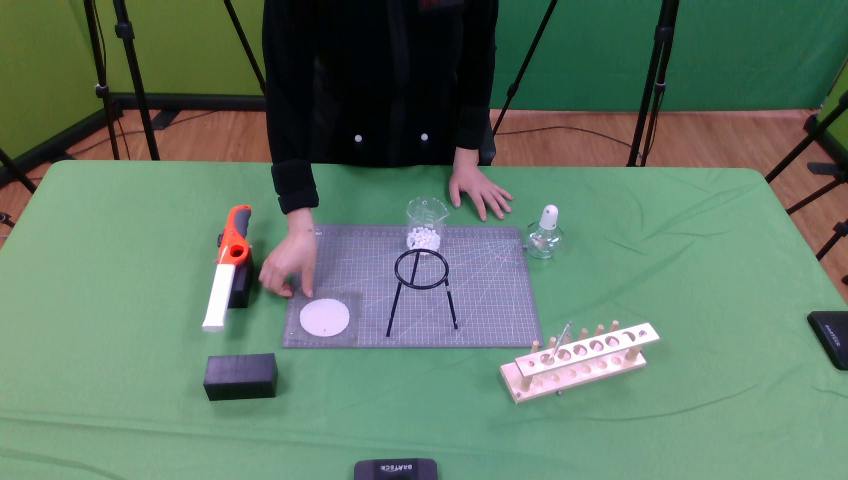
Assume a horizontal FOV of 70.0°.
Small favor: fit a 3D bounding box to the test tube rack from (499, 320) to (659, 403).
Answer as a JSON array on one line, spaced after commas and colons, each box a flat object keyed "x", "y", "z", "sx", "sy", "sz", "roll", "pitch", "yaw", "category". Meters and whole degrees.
[{"x": 0.252, "y": 0.187, "z": 0.994, "sx": 0.243, "sy": 0.085, "sz": 0.066, "roll": -12, "pitch": 48, "yaw": -15, "category": "test tube rack"}]

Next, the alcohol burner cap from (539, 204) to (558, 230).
[{"x": 0.238, "y": -0.045, "z": 1.148, "sx": 0.034, "sy": 0.048, "sz": 0.033, "roll": 2, "pitch": 42, "yaw": -1, "category": "alcohol burner cap"}]

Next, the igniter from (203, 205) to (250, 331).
[{"x": -0.345, "y": 0.039, "z": 1.065, "sx": 0.057, "sy": 0.025, "sz": 0.274, "roll": 2, "pitch": 49, "yaw": -6, "category": "igniter"}]

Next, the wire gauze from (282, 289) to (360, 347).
[{"x": -0.177, "y": 0.132, "z": 1.063, "sx": 0.125, "sy": 0.011, "sz": 0.120, "roll": 5, "pitch": 42, "yaw": -2, "category": "wire gauze"}]

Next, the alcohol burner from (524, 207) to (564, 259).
[{"x": 0.236, "y": -0.020, "z": 1.174, "sx": 0.078, "sy": 0.120, "sz": 0.077, "roll": 2, "pitch": 48, "yaw": -1, "category": "alcohol burner"}]

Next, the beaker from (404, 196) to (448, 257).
[{"x": 0.001, "y": -0.023, "z": 1.164, "sx": 0.084, "sy": 0.101, "sz": 0.073, "roll": 6, "pitch": 46, "yaw": 0, "category": "beaker"}]

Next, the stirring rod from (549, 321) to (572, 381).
[{"x": 0.202, "y": 0.167, "z": 0.901, "sx": 0.006, "sy": 0.177, "sz": 0.014, "roll": -16, "pitch": 54, "yaw": -10, "category": "stirring rod"}]

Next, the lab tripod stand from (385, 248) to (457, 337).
[{"x": -0.010, "y": 0.087, "z": 1.032, "sx": 0.148, "sy": 0.132, "sz": 0.147, "roll": 1, "pitch": 45, "yaw": -1, "category": "lab tripod stand"}]
